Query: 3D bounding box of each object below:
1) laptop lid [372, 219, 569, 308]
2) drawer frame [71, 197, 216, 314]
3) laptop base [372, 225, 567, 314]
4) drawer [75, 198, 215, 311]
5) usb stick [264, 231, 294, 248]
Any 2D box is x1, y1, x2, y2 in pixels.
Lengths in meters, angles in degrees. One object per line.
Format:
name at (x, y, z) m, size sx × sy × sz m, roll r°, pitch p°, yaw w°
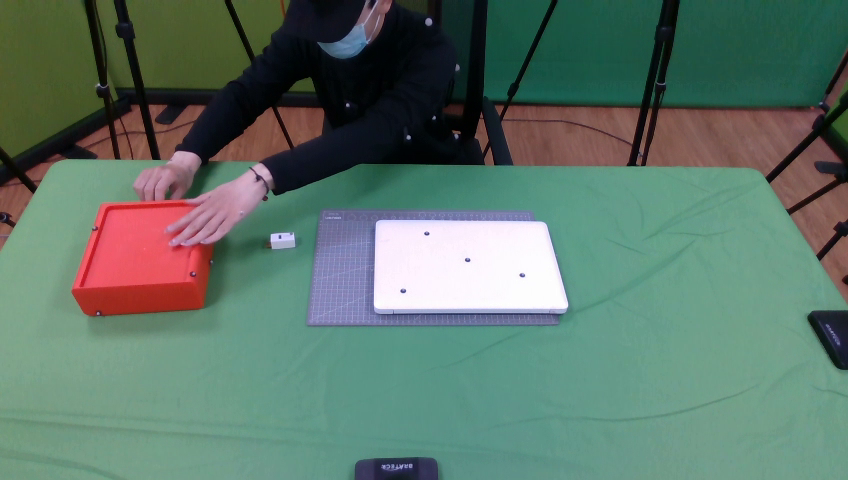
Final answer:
laptop lid at (0.081, 0.039, 1.152) m, size 0.357 × 0.013 × 0.240 m, roll 2°, pitch 44°, yaw -3°
drawer frame at (-0.494, 0.023, 1.096) m, size 0.202 × 0.083 × 0.212 m, roll -3°, pitch 48°, yaw -8°
laptop base at (0.080, 0.049, 1.159) m, size 0.355 × 0.023 × 0.234 m, roll 0°, pitch 43°, yaw -4°
drawer at (-0.494, 0.022, 1.098) m, size 0.195 × 0.073 × 0.210 m, roll -3°, pitch 47°, yaw -8°
usb stick at (-0.282, 0.000, 1.174) m, size 0.059 × 0.027 × 0.021 m, roll -7°, pitch 48°, yaw -5°
